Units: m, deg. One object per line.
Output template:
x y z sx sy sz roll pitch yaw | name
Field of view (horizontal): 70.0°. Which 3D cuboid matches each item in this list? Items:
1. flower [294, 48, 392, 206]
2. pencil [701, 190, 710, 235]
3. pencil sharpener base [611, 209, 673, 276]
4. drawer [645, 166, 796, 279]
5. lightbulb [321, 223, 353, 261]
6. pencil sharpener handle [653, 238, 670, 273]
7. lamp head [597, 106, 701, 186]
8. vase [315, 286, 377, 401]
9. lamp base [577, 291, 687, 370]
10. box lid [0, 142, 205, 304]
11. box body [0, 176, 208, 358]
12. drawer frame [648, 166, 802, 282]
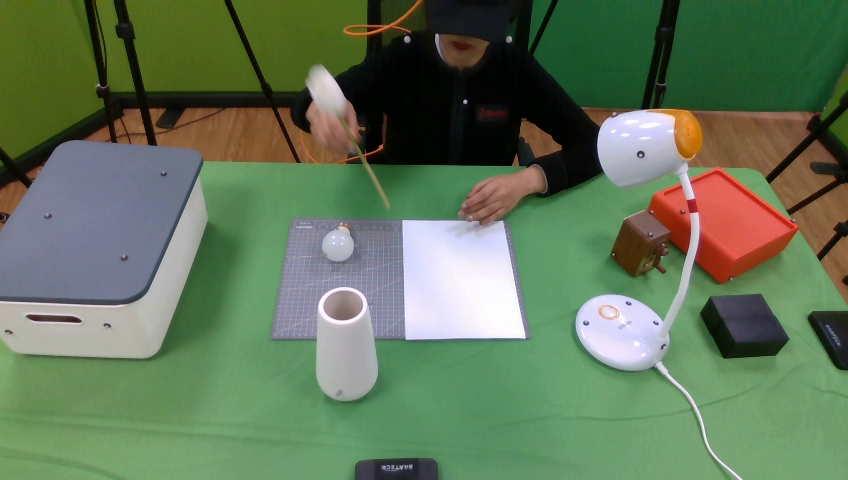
-0.104 -0.145 0.908 0.038 0.364 0.044 -14 60 8 | flower
0.584 -0.058 1.256 0.012 0.012 0.193 16 35 12 | pencil
0.416 0.007 1.158 0.061 0.107 0.076 -21 51 -22 | pencil sharpener base
0.600 -0.040 1.236 0.195 0.073 0.210 -21 52 -23 | drawer
-0.163 -0.001 1.164 0.059 0.060 0.107 4 30 0 | lightbulb
0.444 0.030 1.120 0.036 0.068 0.030 -25 52 -18 | pencil sharpener handle
0.329 -0.138 0.865 0.112 0.113 0.122 -36 20 -32 | lamp head
-0.119 0.159 0.911 0.098 0.201 0.097 2 47 -2 | vase
0.361 0.110 1.003 0.160 0.181 0.178 -31 57 -28 | lamp base
-0.533 -0.044 0.995 0.263 0.015 0.369 3 45 -3 | box lid
-0.546 0.017 1.045 0.254 0.161 0.361 2 46 -2 | box body
0.603 -0.040 1.233 0.202 0.083 0.212 -21 51 -23 | drawer frame
